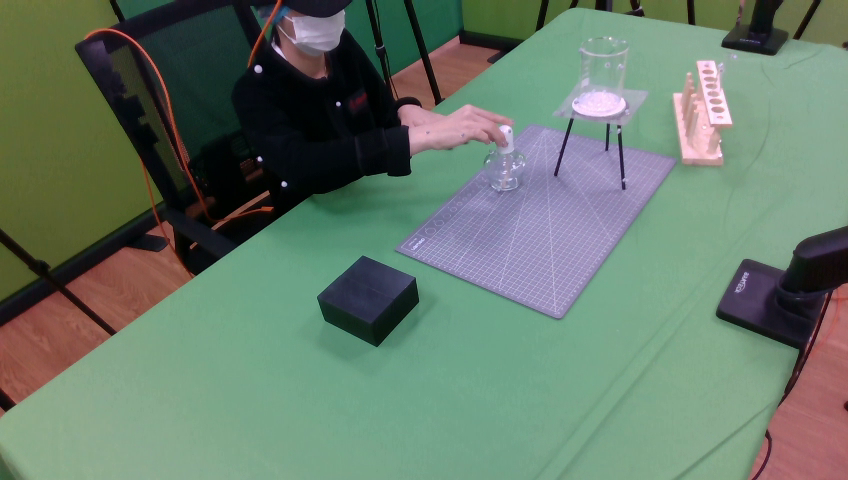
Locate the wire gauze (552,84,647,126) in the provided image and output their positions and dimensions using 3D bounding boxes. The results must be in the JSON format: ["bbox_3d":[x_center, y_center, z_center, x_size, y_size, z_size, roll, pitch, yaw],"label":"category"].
[{"bbox_3d":[0.293,-0.224,1.004,0.120,0.011,0.125,19,43,26],"label":"wire gauze"}]

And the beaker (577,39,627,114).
[{"bbox_3d":[0.286,-0.264,0.976,0.073,0.100,0.084,25,49,33],"label":"beaker"}]

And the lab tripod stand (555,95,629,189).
[{"bbox_3d":[0.300,-0.174,1.045,0.148,0.132,0.147,-5,38,5],"label":"lab tripod stand"}]

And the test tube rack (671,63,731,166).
[{"bbox_3d":[0.513,-0.240,1.132,0.066,0.085,0.242,4,41,14],"label":"test tube rack"}]

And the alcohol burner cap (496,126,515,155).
[{"bbox_3d":[0.138,-0.172,1.028,0.034,0.048,0.033,-5,37,4],"label":"alcohol burner cap"}]

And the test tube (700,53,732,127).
[{"bbox_3d":[0.521,-0.265,1.081,0.017,0.151,0.017,-3,47,3],"label":"test tube"}]

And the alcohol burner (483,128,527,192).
[{"bbox_3d":[0.141,-0.144,1.050,0.078,0.119,0.077,-4,42,4],"label":"alcohol burner"}]
